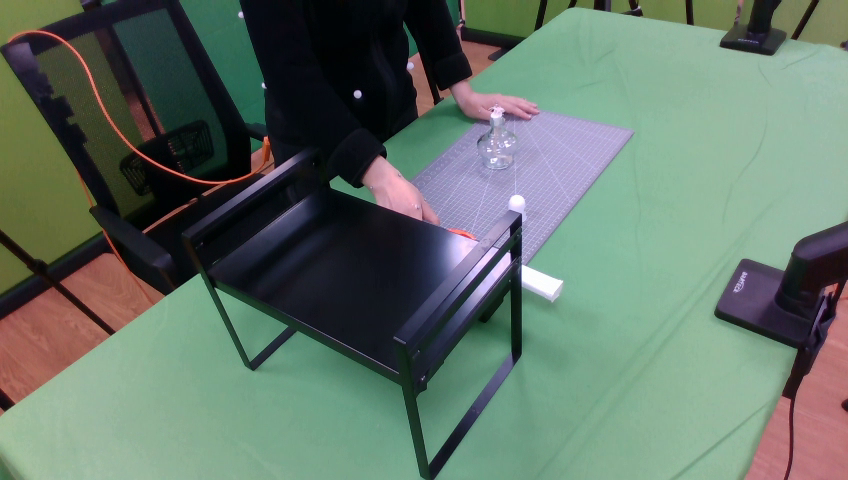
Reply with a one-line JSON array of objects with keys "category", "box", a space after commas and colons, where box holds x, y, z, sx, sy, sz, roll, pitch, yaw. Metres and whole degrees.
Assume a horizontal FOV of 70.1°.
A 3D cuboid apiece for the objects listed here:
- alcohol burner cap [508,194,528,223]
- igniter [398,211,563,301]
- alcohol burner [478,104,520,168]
[{"category": "alcohol burner cap", "box": [0.155, -0.053, 0.996, 0.034, 0.048, 0.033, -4, 39, 4]}, {"category": "igniter", "box": [0.068, 0.017, 0.858, 0.274, 0.025, 0.057, 25, 50, 30]}, {"category": "alcohol burner", "box": [0.137, -0.193, 1.106, 0.078, 0.119, 0.077, -5, 39, 4]}]
